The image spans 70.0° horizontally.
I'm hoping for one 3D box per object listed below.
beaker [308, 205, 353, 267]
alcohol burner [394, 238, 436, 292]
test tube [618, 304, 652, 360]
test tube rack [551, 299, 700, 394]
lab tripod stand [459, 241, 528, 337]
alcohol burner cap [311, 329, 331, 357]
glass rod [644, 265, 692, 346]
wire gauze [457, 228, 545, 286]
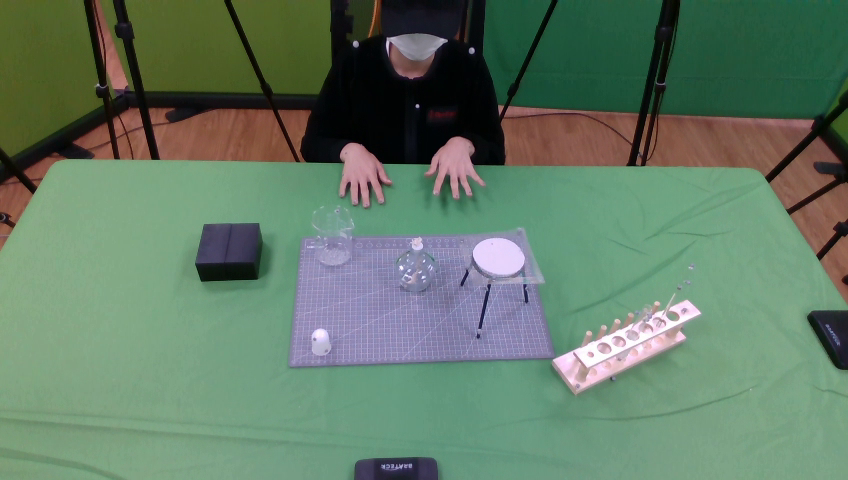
[{"bbox_3d":[-0.171,-0.004,1.132,0.084,0.101,0.073,16,47,10],"label":"beaker"},{"bbox_3d":[-0.016,0.038,1.093,0.078,0.119,0.077,2,48,-2],"label":"alcohol burner"},{"bbox_3d":[0.335,0.150,0.967,0.017,0.151,0.017,1,50,0],"label":"test tube"},{"bbox_3d":[0.339,0.166,1.021,0.242,0.085,0.066,-19,50,-21],"label":"test tube rack"},{"bbox_3d":[0.122,0.075,1.054,0.148,0.132,0.147,3,44,-3],"label":"lab tripod stand"},{"bbox_3d":[-0.173,0.168,1.004,0.034,0.048,0.033,2,46,-2],"label":"alcohol burner cap"},{"bbox_3d":[0.395,0.112,0.985,0.008,0.200,0.008,4,43,-3],"label":"glass rod"},{"bbox_3d":[0.126,0.029,1.006,0.125,0.011,0.120,-4,46,-10],"label":"wire gauze"}]
